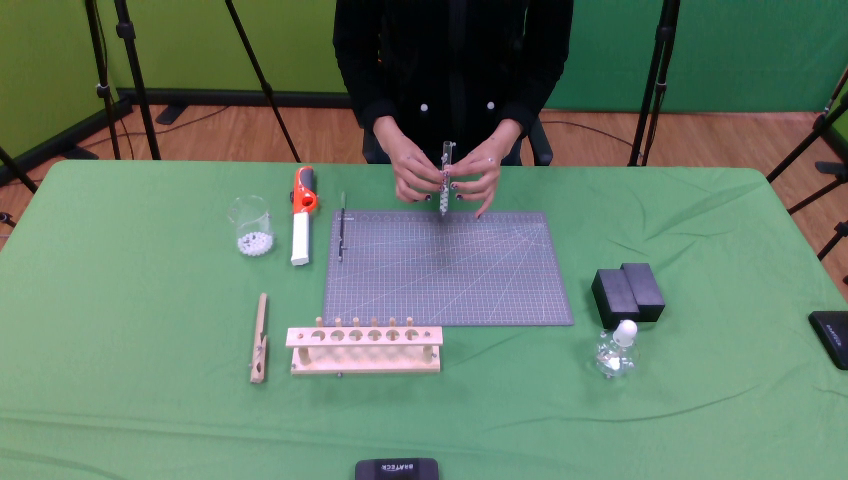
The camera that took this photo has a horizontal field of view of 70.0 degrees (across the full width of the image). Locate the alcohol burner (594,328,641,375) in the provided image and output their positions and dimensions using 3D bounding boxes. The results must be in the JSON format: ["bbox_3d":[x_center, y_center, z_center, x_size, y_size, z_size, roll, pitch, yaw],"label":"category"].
[{"bbox_3d":[0.322,0.170,0.994,0.078,0.119,0.077,3,48,-3],"label":"alcohol burner"}]

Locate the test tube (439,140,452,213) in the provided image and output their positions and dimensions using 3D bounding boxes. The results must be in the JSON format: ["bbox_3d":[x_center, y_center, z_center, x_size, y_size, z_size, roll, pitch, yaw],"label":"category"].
[{"bbox_3d":[0.038,-0.111,1.090,0.017,0.151,0.017,2,39,-1],"label":"test tube"}]

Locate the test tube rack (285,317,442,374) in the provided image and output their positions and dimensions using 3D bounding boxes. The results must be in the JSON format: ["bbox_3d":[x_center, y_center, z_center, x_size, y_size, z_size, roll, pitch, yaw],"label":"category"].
[{"bbox_3d":[-0.095,0.166,0.988,0.242,0.085,0.066,0,46,-4],"label":"test tube rack"}]

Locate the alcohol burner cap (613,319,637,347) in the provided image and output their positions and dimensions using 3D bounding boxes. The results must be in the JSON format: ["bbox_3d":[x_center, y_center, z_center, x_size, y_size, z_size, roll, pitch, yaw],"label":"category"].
[{"bbox_3d":[0.323,0.146,0.966,0.034,0.048,0.033,-1,52,2],"label":"alcohol burner cap"}]

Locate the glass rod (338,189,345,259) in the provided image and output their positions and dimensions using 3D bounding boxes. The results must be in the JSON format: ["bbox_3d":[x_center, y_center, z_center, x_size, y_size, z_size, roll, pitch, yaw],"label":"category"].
[{"bbox_3d":[-0.166,-0.037,1.226,0.008,0.008,0.198,-1,47,-4],"label":"glass rod"}]

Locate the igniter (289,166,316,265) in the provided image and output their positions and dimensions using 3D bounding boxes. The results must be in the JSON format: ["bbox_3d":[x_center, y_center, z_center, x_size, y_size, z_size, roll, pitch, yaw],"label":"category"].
[{"bbox_3d":[-0.248,-0.058,1.233,0.057,0.025,0.274,-10,46,1],"label":"igniter"}]

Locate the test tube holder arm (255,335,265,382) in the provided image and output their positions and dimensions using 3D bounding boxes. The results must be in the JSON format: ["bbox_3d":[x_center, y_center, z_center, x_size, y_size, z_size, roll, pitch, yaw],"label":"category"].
[{"bbox_3d":[-0.270,0.193,0.997,0.010,0.015,0.087,24,36,-32],"label":"test tube holder arm"}]

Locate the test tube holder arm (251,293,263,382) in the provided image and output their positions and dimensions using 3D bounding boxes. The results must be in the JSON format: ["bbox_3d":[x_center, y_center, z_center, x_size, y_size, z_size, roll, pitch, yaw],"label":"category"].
[{"bbox_3d":[-0.281,0.160,1.025,0.013,0.015,0.177,23,36,-32],"label":"test tube holder arm"}]

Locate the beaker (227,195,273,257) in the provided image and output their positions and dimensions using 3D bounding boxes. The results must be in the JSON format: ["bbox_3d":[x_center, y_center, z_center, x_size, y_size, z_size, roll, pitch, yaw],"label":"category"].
[{"bbox_3d":[-0.326,-0.022,1.142,0.074,0.101,0.083,10,47,6],"label":"beaker"}]
